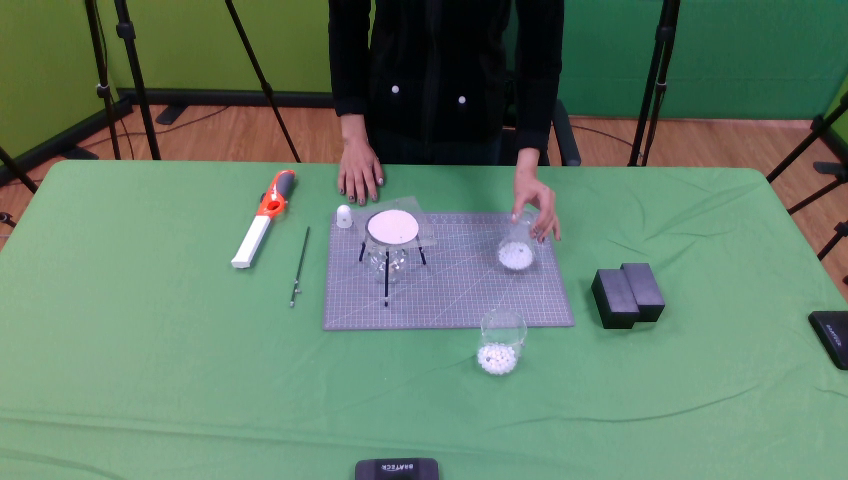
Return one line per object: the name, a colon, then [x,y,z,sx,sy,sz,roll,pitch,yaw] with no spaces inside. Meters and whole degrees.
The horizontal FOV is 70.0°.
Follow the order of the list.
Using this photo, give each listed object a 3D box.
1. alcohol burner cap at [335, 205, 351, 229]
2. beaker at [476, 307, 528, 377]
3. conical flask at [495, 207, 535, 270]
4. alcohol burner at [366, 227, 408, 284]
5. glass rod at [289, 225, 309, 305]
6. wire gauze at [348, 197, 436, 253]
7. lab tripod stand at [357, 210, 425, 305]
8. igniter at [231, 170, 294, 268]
alcohol burner cap: [-0.164,-0.049,1.216,0.034,0.048,0.033,2,45,-2]
beaker: [0.122,0.171,0.991,0.084,0.101,0.073,-34,56,-30]
conical flask: [0.175,-0.007,1.121,0.075,0.122,0.075,2,49,-2]
alcohol burner: [-0.068,0.024,1.104,0.078,0.120,0.077,1,46,-1]
glass rod: [-0.235,0.043,1.149,0.008,0.008,0.198,3,46,-1]
wire gauze: [-0.056,-0.026,1.045,0.125,0.011,0.120,-11,47,-17]
lab tripod stand: [-0.060,0.020,1.094,0.148,0.132,0.147,3,44,-2]
igniter: [-0.321,-0.051,1.220,0.057,0.025,0.275,2,45,11]
